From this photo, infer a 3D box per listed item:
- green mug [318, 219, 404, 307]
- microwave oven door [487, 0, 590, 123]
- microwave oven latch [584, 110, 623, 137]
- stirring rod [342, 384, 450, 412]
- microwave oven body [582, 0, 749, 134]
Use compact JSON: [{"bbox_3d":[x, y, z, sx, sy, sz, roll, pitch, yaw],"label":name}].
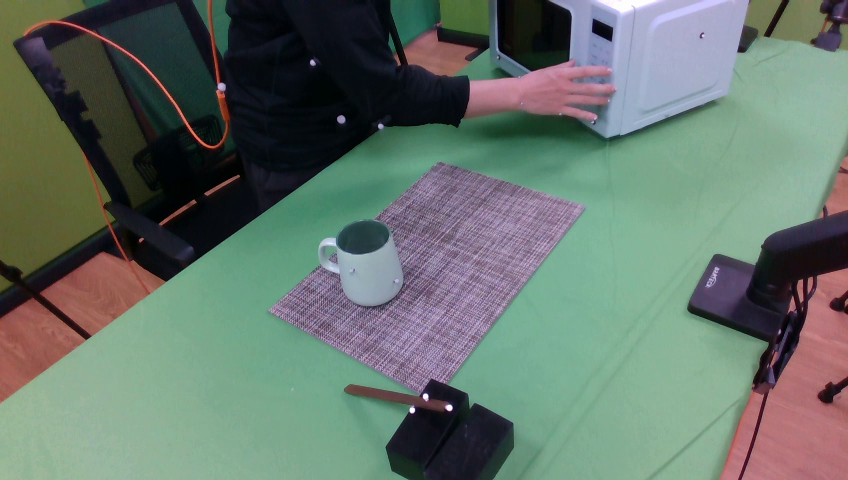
[{"bbox_3d":[-0.096,0.032,0.876,0.125,0.105,0.092,8,43,17],"label":"green mug"},{"bbox_3d":[0.232,-0.420,1.231,0.039,0.245,0.352,-22,43,-16],"label":"microwave oven door"},{"bbox_3d":[0.337,-0.223,1.142,0.030,0.029,0.078,-21,42,-14],"label":"microwave oven latch"},{"bbox_3d":[-0.038,0.186,0.714,0.175,0.006,0.014,-3,22,43],"label":"stirring rod"},{"bbox_3d":[0.382,-0.445,1.246,0.327,0.261,0.437,-22,42,-16],"label":"microwave oven body"}]
